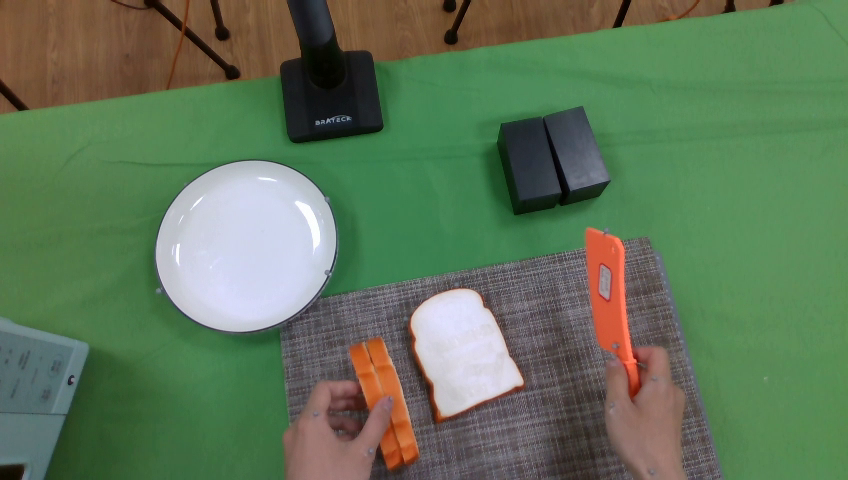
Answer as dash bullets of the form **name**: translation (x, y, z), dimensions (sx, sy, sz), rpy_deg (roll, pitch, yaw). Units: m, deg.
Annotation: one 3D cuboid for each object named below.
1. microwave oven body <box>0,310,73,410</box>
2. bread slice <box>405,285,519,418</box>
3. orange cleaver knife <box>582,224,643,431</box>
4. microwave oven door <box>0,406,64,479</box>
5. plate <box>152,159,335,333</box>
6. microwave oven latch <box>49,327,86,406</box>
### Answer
- **microwave oven body**: translation (-0.573, 0.246, 0.516), dimensions (0.326, 0.261, 0.439), rpy_deg (11, 75, 3)
- **bread slice**: translation (0.040, 0.119, 0.684), dimensions (0.107, 0.018, 0.134), rpy_deg (-17, 84, -10)
- **orange cleaver knife**: translation (0.191, 0.087, 0.622), dimensions (0.012, 0.077, 0.211), rpy_deg (-9, 91, -14)
- **microwave oven door**: translation (-0.439, 0.312, 0.493), dimensions (0.039, 0.245, 0.354), rpy_deg (11, 74, 4)
- **plate**: translation (-0.205, 0.007, 0.707), dimensions (0.208, 0.039, 0.206), rpy_deg (0, 74, -1)
- **microwave oven latch**: translation (-0.392, 0.136, 0.650), dimensions (0.030, 0.029, 0.079), rpy_deg (13, 75, 3)
